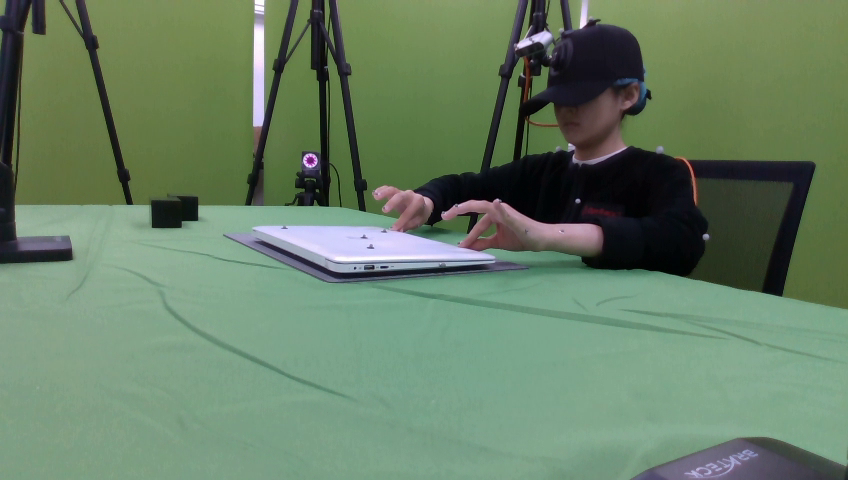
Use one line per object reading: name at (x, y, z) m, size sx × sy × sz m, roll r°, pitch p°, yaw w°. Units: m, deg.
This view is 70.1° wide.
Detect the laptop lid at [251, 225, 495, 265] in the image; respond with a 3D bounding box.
laptop lid at (-0.090, 0.003, 0.883) m, size 0.243 × 0.013 × 0.355 m, roll 1°, pitch 7°, yaw -31°

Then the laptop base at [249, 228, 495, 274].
laptop base at (-0.093, 0.015, 0.884) m, size 0.237 × 0.023 × 0.352 m, roll 3°, pitch 6°, yaw -32°
